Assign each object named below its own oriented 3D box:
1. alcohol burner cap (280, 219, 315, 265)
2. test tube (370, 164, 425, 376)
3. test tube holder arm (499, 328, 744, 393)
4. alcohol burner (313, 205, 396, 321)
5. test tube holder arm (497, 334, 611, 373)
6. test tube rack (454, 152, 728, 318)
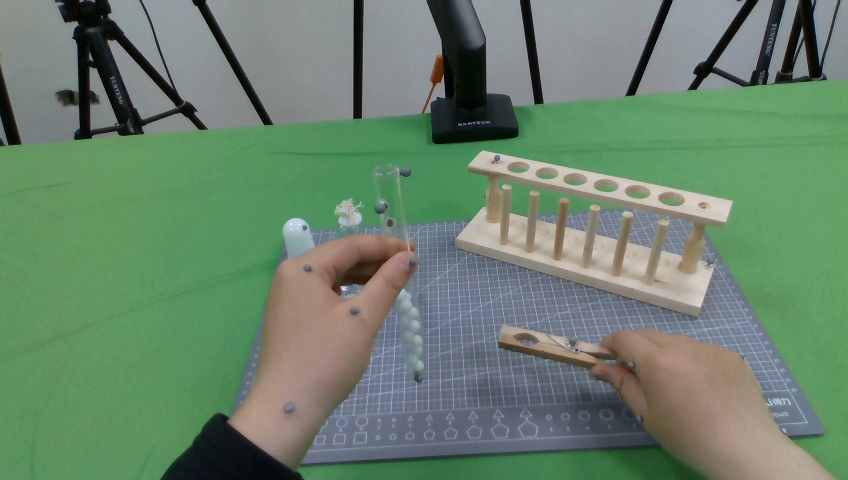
[{"bbox_3d":[-0.136,-0.001,0.642,0.034,0.048,0.033,-2,38,2],"label":"alcohol burner cap"},{"bbox_3d":[-0.015,0.025,0.380,0.017,0.151,0.017,-6,28,3],"label":"test tube"},{"bbox_3d":[0.144,0.090,0.458,0.178,0.015,0.013,9,64,16],"label":"test tube holder arm"},{"bbox_3d":[-0.065,0.016,0.551,0.078,0.120,0.077,-2,39,2],"label":"alcohol burner"},{"bbox_3d":[0.100,0.088,0.468,0.087,0.015,0.010,9,64,17],"label":"test tube holder arm"},{"bbox_3d":[0.149,-0.012,0.585,0.241,0.086,0.066,16,43,26],"label":"test tube rack"}]
